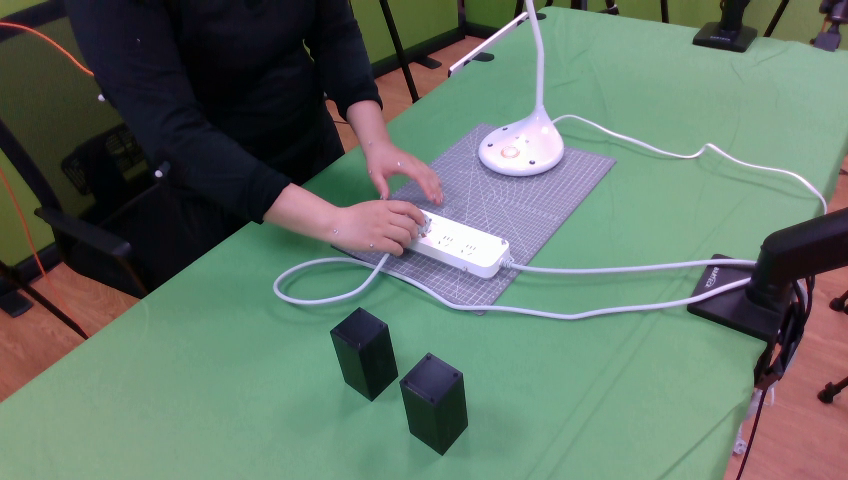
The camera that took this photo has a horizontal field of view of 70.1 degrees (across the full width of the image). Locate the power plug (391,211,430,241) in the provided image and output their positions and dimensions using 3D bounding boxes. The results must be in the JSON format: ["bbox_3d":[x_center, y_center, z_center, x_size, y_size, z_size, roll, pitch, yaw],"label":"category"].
[{"bbox_3d":[-0.023,-0.015,0.926,0.073,0.053,0.035,-37,48,-12],"label":"power plug"}]

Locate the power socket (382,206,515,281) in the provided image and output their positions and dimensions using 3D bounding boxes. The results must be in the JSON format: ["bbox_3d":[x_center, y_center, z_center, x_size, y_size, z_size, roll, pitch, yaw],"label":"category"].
[{"bbox_3d":[0.032,0.002,0.950,0.225,0.033,0.072,22,49,29],"label":"power socket"}]

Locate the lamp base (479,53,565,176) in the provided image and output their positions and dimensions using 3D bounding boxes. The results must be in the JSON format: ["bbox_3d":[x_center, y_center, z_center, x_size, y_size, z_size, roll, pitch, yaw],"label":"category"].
[{"bbox_3d":[0.181,-0.235,1.093,0.159,0.181,0.179,18,44,27],"label":"lamp base"}]
